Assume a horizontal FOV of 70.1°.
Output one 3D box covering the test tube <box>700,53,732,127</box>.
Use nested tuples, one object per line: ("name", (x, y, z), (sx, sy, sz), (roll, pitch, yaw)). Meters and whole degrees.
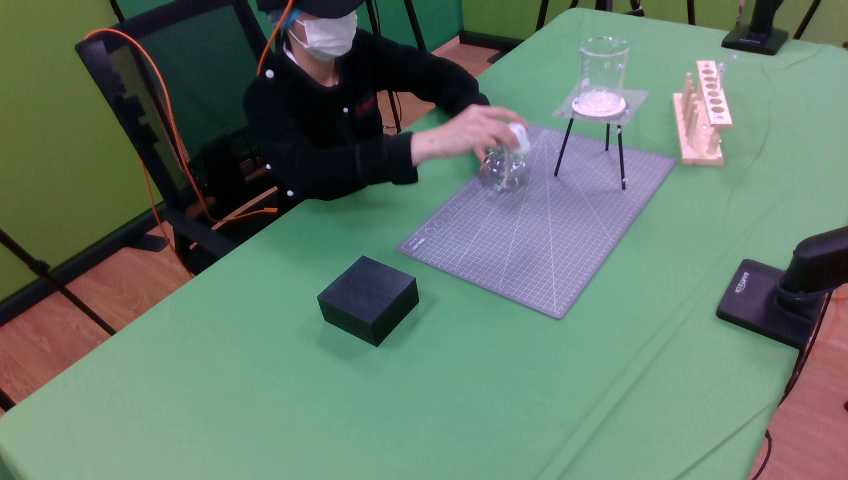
("test tube", (0.521, -0.265, 1.081), (0.017, 0.151, 0.017), (-3, 47, 3))

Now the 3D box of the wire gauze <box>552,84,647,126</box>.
("wire gauze", (0.293, -0.224, 1.004), (0.120, 0.011, 0.125), (19, 43, 26))

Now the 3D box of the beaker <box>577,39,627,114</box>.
("beaker", (0.286, -0.264, 0.976), (0.073, 0.100, 0.084), (25, 49, 33))

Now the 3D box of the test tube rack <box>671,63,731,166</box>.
("test tube rack", (0.513, -0.241, 1.132), (0.066, 0.085, 0.242), (4, 41, 14))

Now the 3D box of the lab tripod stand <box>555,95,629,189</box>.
("lab tripod stand", (0.300, -0.174, 1.045), (0.148, 0.132, 0.147), (-5, 38, 5))

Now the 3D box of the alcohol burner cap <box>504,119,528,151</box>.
("alcohol burner cap", (0.141, -0.165, 0.932), (0.034, 0.048, 0.033), (-12, 44, 12))

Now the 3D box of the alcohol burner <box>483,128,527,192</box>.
("alcohol burner", (0.141, -0.144, 1.050), (0.078, 0.119, 0.077), (-4, 42, 4))
